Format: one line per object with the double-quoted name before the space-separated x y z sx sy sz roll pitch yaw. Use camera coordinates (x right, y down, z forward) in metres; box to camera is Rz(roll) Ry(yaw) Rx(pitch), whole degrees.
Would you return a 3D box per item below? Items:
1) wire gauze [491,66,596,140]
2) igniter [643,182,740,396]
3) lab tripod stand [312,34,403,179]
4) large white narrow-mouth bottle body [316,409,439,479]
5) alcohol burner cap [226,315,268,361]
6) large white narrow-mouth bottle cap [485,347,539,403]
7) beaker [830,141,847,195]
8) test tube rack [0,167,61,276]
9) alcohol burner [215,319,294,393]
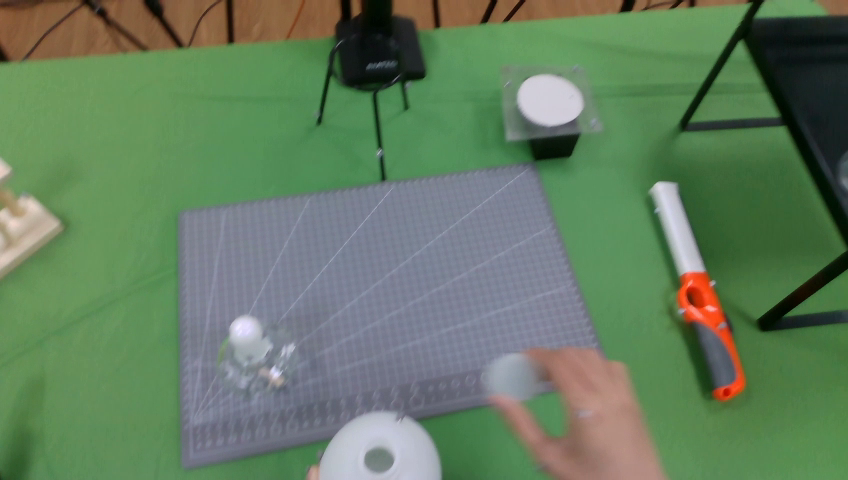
"wire gauze" 0.153 -0.182 0.790 0.121 0.011 0.124 -2 60 -5
"igniter" 0.312 0.048 0.715 0.057 0.025 0.274 2 59 -15
"lab tripod stand" -0.074 -0.171 0.751 0.148 0.132 0.147 3 60 -5
"large white narrow-mouth bottle body" -0.039 0.198 0.507 0.102 0.196 0.101 2 59 -3
"alcohol burner cap" -0.166 0.089 0.561 0.034 0.048 0.033 0 55 0
"large white narrow-mouth bottle cap" 0.064 0.098 0.442 0.038 0.024 0.037 2 59 -3
"beaker" 0.429 -0.085 0.550 0.084 0.101 0.073 10 59 2
"test tube rack" -0.521 0.029 0.630 0.066 0.086 0.242 35 63 15
"alcohol burner" -0.168 0.107 0.592 0.078 0.120 0.077 3 58 -4
